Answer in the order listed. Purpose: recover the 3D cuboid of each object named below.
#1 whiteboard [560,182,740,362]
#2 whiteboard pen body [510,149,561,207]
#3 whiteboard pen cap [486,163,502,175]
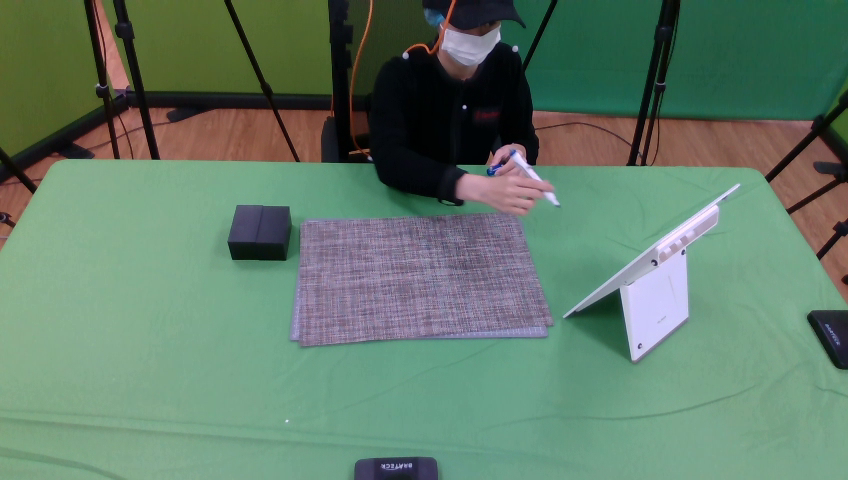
[{"bbox_3d":[0.406,0.075,1.001,0.217,0.306,0.143,-28,73,-28],"label":"whiteboard"},{"bbox_3d":[0.205,-0.110,1.102,0.141,0.017,0.017,45,48,-15],"label":"whiteboard pen body"},{"bbox_3d":[0.150,-0.152,1.299,0.033,0.018,0.018,-24,52,-12],"label":"whiteboard pen cap"}]
